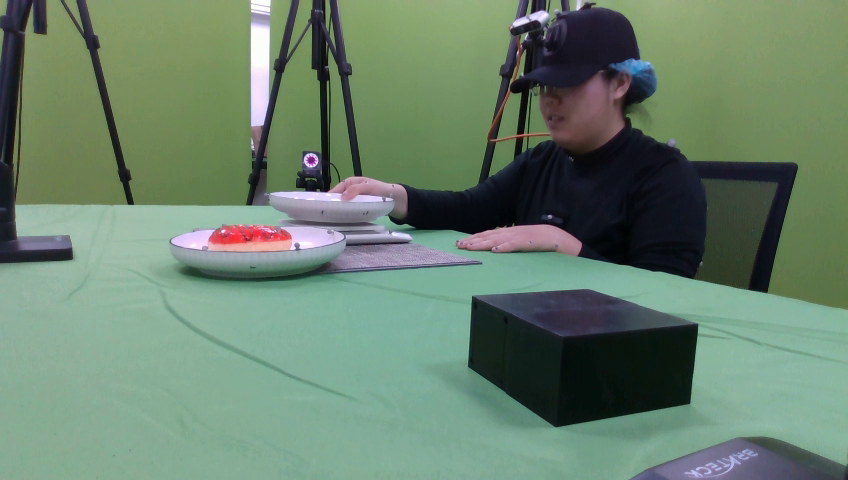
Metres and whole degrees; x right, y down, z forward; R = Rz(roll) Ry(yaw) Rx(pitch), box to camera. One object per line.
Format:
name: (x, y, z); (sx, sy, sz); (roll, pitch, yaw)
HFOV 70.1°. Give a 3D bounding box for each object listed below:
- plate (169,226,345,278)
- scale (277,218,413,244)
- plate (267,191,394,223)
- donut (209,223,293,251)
plate: (-0.202, 0.014, 0.748); (0.209, 0.038, 0.209); (1, 9, 0)
scale: (-0.134, -0.016, 1.015); (0.202, 0.031, 0.148); (-1, 9, -33)
plate: (-0.152, -0.055, 1.000); (0.208, 0.039, 0.207); (3, 7, 0)
donut: (-0.210, 0.004, 0.738); (0.099, 0.048, 0.099); (0, 8, 0)
